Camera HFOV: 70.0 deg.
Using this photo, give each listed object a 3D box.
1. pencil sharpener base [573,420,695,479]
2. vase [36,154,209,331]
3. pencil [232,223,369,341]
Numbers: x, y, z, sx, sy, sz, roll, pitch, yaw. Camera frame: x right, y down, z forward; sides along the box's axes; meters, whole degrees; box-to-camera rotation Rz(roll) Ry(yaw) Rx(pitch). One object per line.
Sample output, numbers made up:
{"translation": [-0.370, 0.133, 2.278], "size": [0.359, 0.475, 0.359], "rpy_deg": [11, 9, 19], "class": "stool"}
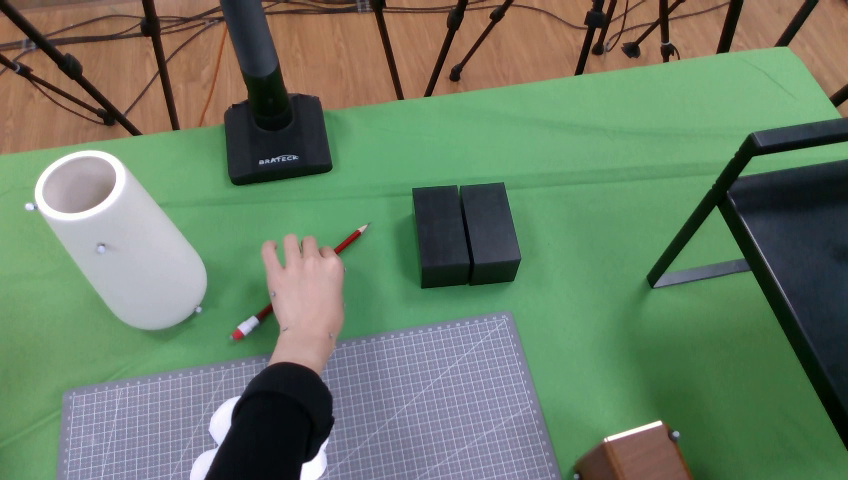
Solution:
{"translation": [0.178, 0.208, 0.513], "size": [0.061, 0.108, 0.076], "rpy_deg": [-13, 61, -10], "class": "pencil sharpener base"}
{"translation": [-0.272, 0.008, 0.561], "size": [0.098, 0.201, 0.097], "rpy_deg": [0, 58, 0], "class": "vase"}
{"translation": [-0.128, 0.040, 0.653], "size": [0.012, 0.012, 0.194], "rpy_deg": [38, 64, 19], "class": "pencil"}
